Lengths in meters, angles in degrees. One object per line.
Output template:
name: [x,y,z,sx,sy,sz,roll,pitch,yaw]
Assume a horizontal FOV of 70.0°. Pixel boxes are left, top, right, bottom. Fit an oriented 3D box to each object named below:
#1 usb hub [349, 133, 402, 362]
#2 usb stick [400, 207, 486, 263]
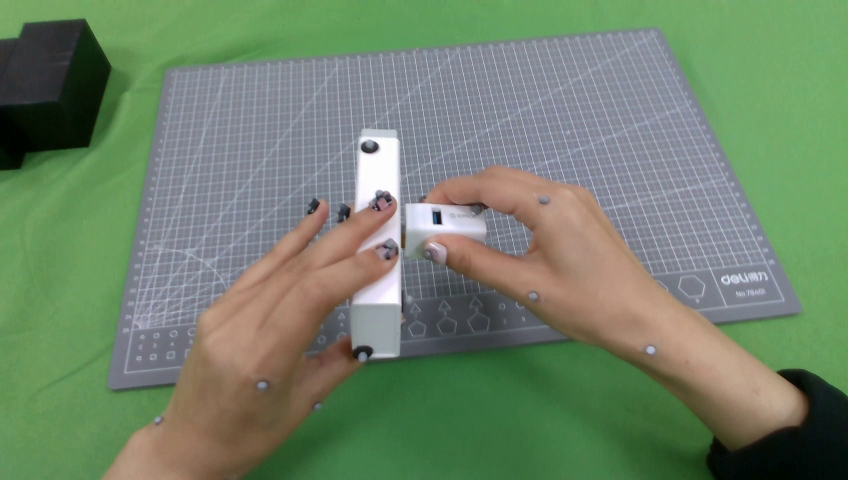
usb hub: [-0.025,-0.001,0.327,0.025,0.050,0.124,0,49,-4]
usb stick: [0.004,-0.003,0.336,0.059,0.027,0.021,-3,45,-1]
